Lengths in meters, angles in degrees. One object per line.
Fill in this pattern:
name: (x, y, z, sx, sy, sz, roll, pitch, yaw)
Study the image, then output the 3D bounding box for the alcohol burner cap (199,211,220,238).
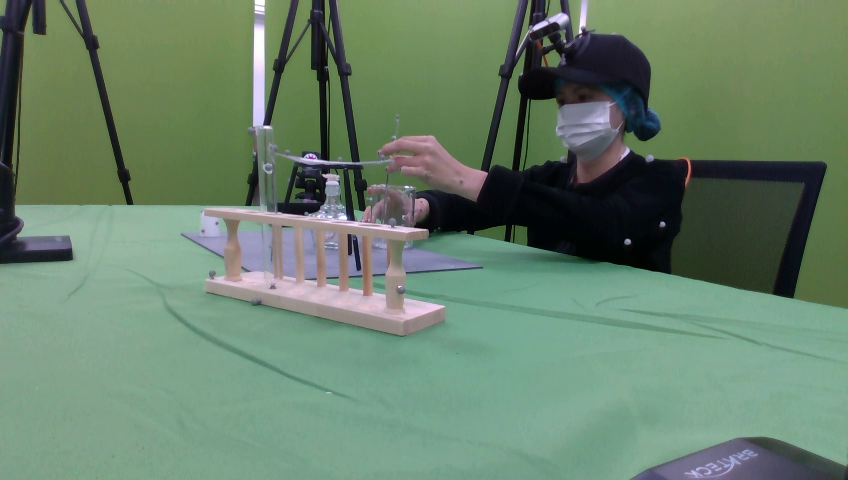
alcohol burner cap: (-0.356, -0.027, 1.002, 0.034, 0.048, 0.034, 2, 7, 0)

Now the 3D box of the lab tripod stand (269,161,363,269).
lab tripod stand: (-0.125, -0.036, 0.794, 0.148, 0.131, 0.148, 5, 7, 0)

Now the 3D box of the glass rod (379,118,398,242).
glass rod: (-0.056, -0.091, 0.955, 0.008, 0.199, 0.008, 8, 14, -2)

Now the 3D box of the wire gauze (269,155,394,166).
wire gauze: (-0.121, -0.102, 0.785, 0.122, 0.011, 0.124, -3, 10, -38)

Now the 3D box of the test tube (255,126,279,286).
test tube: (-0.147, -0.031, 0.566, 0.017, 0.150, 0.017, -1, 8, 0)

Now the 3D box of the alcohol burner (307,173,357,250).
alcohol burner: (-0.144, -0.045, 0.940, 0.078, 0.119, 0.078, 1, 8, 0)

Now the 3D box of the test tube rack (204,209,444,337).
test tube rack: (-0.100, 0.021, 0.565, 0.241, 0.085, 0.067, 7, 9, 32)

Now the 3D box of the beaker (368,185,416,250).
beaker: (-0.051, -0.036, 0.958, 0.074, 0.100, 0.083, -1, 9, -24)
